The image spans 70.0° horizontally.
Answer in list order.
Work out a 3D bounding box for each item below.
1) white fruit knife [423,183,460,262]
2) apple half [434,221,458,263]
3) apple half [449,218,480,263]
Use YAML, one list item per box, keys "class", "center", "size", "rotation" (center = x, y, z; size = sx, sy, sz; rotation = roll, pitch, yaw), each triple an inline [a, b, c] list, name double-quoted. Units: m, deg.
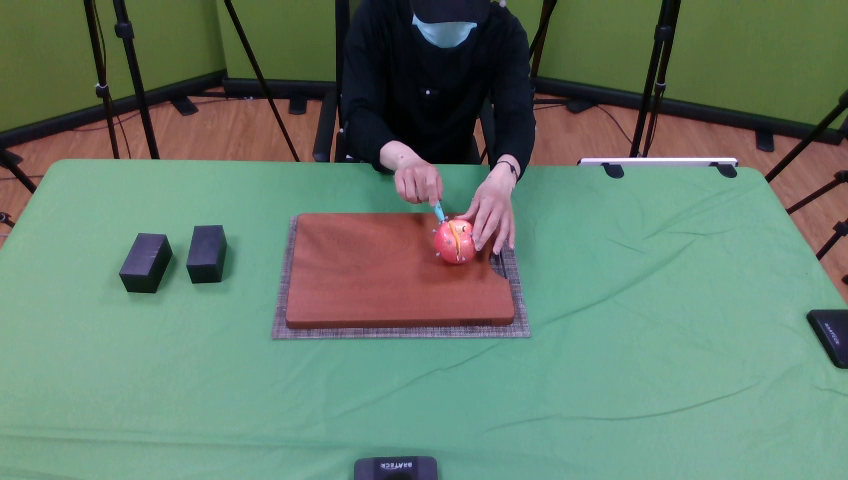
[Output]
- class: "white fruit knife"
  center: [0.035, -0.038, 1.145]
  size: [0.016, 0.027, 0.206]
  rotation: [-16, 52, -8]
- class: "apple half"
  center: [0.036, 0.009, 1.112]
  size: [0.033, 0.081, 0.080]
  rotation: [-11, 48, -13]
- class: "apple half"
  center: [0.076, 0.002, 1.123]
  size: [0.053, 0.075, 0.080]
  rotation: [-6, 44, -18]
